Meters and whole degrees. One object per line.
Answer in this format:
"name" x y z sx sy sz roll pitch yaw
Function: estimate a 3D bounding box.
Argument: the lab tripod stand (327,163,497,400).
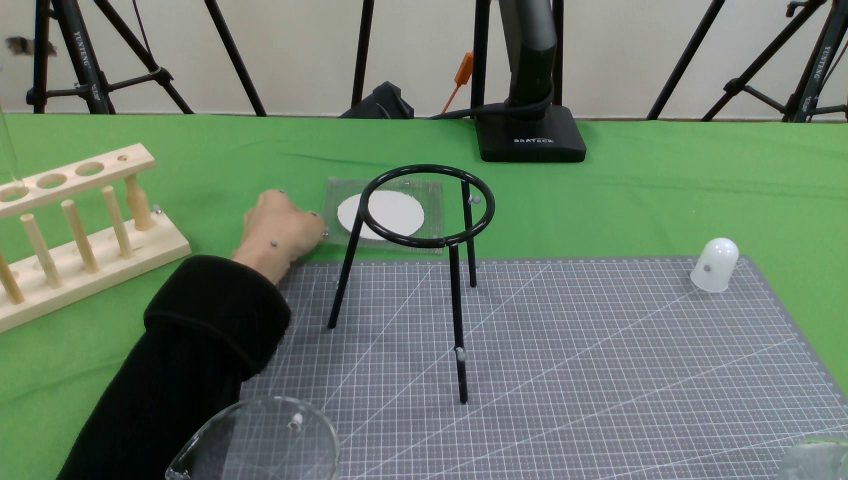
"lab tripod stand" -0.003 0.023 0.436 0.148 0.132 0.147 0 41 0

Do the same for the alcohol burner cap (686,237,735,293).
"alcohol burner cap" 0.250 0.019 0.525 0.034 0.048 0.033 1 39 -1

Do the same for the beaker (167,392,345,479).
"beaker" -0.081 0.140 0.317 0.084 0.101 0.073 -2 40 -5

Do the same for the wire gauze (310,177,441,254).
"wire gauze" -0.045 -0.029 0.602 0.125 0.011 0.120 3 37 -1

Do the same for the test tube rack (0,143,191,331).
"test tube rack" -0.324 0.009 0.481 0.242 0.086 0.066 -27 47 -30

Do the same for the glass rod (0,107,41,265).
"glass rod" -0.318 -0.064 0.466 0.008 0.201 0.008 4 32 -2

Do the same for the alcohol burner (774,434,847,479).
"alcohol burner" 0.240 0.132 0.330 0.078 0.120 0.077 1 38 -1
